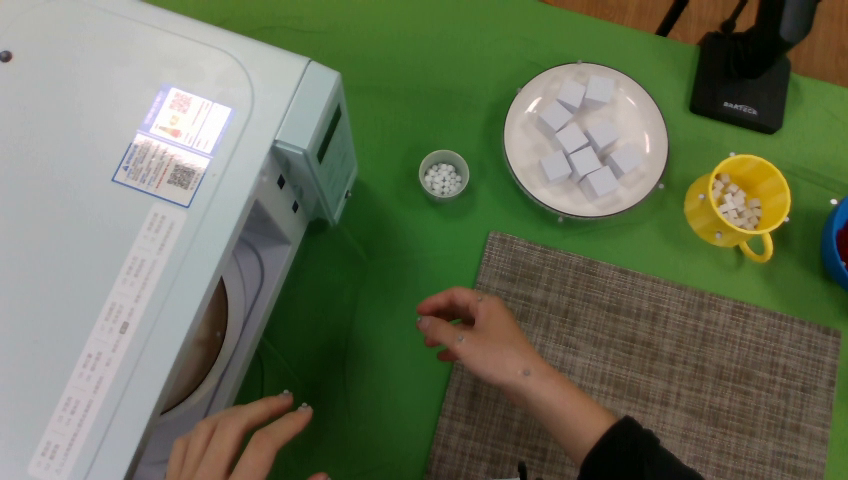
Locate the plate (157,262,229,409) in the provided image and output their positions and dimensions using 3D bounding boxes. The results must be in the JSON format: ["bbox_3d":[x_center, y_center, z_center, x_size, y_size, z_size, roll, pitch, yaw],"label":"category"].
[{"bbox_3d":[-0.306,0.079,0.631,0.209,0.038,0.208,1,78,-3],"label":"plate"}]

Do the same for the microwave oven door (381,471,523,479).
[{"bbox_3d":[-0.063,0.254,0.546,0.356,0.244,0.039,-2,77,-3],"label":"microwave oven door"}]

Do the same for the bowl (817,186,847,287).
[{"bbox_3d":[0.538,0.004,0.732,0.151,0.077,0.150,1,78,-2],"label":"bowl"}]

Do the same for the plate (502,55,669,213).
[{"bbox_3d":[0.200,-0.131,0.765,0.208,0.039,0.206,1,78,-3],"label":"plate"}]

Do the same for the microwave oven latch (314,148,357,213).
[{"bbox_3d":[-0.106,-0.074,0.718,0.030,0.029,0.079,23,78,2],"label":"microwave oven latch"}]

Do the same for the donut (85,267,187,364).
[{"bbox_3d":[-0.292,0.076,0.618,0.099,0.048,0.098,1,81,-4],"label":"donut"}]

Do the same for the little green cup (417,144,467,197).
[{"bbox_3d":[0.021,-0.083,0.744,0.061,0.039,0.061,1,79,-3],"label":"little green cup"}]

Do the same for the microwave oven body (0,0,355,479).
[{"bbox_3d":[-0.299,0.019,0.590,0.326,0.261,0.440,19,78,1],"label":"microwave oven body"}]

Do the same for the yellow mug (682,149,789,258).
[{"bbox_3d":[0.385,-0.040,0.740,0.100,0.064,0.130,-20,80,-6],"label":"yellow mug"}]
